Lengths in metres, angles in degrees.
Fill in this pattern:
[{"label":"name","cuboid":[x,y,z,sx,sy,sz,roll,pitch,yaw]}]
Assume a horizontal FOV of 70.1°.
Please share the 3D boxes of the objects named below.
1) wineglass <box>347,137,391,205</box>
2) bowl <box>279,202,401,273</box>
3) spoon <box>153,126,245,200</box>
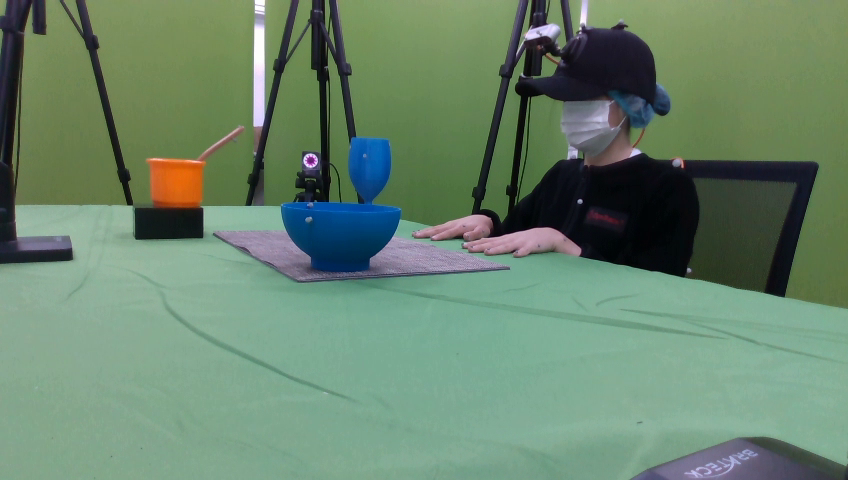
[{"label":"wineglass","cuboid":[-0.093,-0.081,0.996,0.074,0.172,0.073,3,7,0]},{"label":"bowl","cuboid":[-0.105,-0.003,0.756,0.151,0.077,0.151,3,7,0]},{"label":"spoon","cuboid":[-0.376,-0.131,1.017,0.041,0.194,0.022,13,-32,55]}]
